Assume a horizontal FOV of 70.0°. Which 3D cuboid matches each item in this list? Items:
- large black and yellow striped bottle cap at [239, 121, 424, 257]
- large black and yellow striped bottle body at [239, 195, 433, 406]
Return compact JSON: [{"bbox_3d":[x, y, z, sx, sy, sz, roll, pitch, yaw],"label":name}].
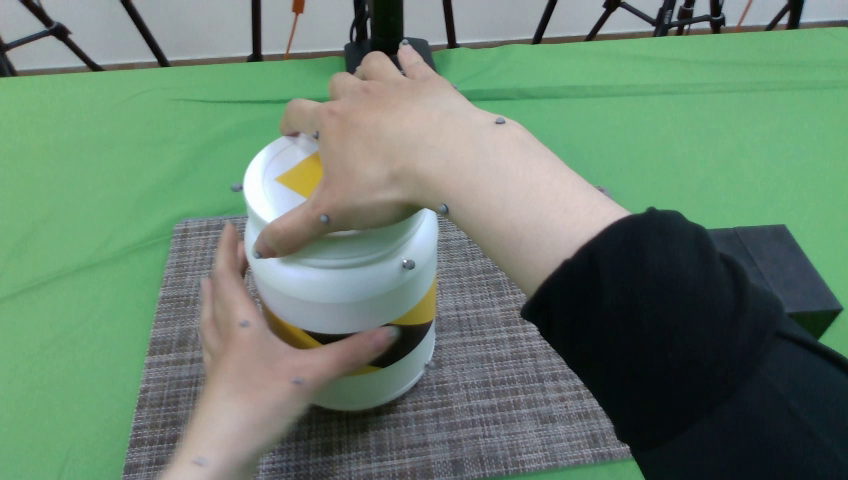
[{"bbox_3d":[-0.057,-0.037,0.384,0.115,0.019,0.114,0,45,0],"label":"large black and yellow striped bottle cap"},{"bbox_3d":[-0.059,0.023,0.446,0.131,0.185,0.129,0,46,0],"label":"large black and yellow striped bottle body"}]
